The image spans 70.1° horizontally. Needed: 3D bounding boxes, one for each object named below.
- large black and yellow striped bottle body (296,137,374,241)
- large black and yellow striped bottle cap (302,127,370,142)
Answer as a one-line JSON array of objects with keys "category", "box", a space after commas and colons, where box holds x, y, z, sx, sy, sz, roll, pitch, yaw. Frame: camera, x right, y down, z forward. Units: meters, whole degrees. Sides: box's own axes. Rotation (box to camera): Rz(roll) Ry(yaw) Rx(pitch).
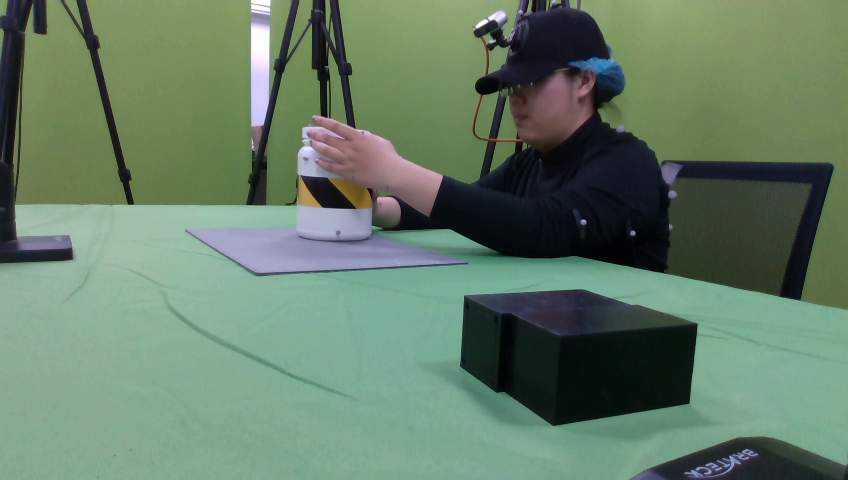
[{"category": "large black and yellow striped bottle body", "box": [-0.153, -0.096, 1.047, 0.131, 0.184, 0.130, 3, 7, 0]}, {"category": "large black and yellow striped bottle cap", "box": [-0.150, -0.180, 1.036, 0.115, 0.019, 0.115, 4, 7, 0]}]
